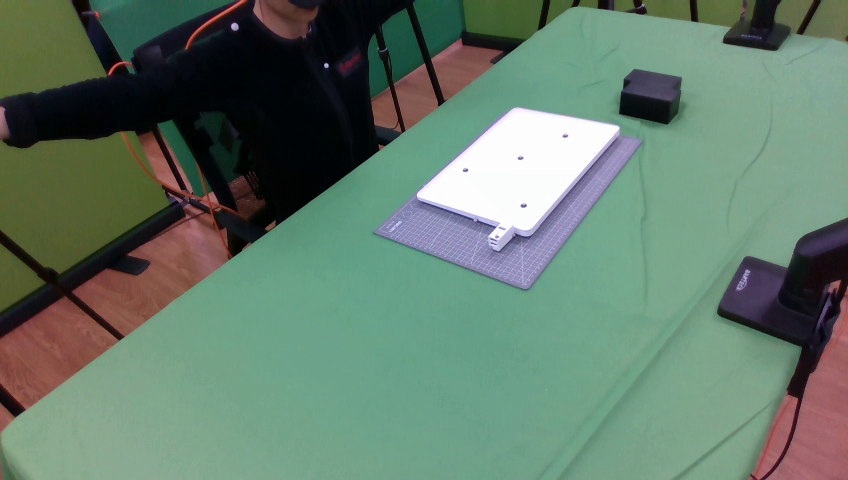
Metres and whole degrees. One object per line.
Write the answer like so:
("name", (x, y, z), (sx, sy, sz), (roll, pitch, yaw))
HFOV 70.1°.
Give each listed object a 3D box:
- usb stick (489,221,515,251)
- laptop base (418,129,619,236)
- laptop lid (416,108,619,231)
("usb stick", (0.127, -0.011, 0.954), (0.021, 0.027, 0.059), (22, 47, 34))
("laptop base", (0.180, -0.137, 1.112), (0.233, 0.023, 0.355), (19, 47, 33))
("laptop lid", (0.176, -0.147, 1.106), (0.239, 0.013, 0.357), (21, 48, 34))
